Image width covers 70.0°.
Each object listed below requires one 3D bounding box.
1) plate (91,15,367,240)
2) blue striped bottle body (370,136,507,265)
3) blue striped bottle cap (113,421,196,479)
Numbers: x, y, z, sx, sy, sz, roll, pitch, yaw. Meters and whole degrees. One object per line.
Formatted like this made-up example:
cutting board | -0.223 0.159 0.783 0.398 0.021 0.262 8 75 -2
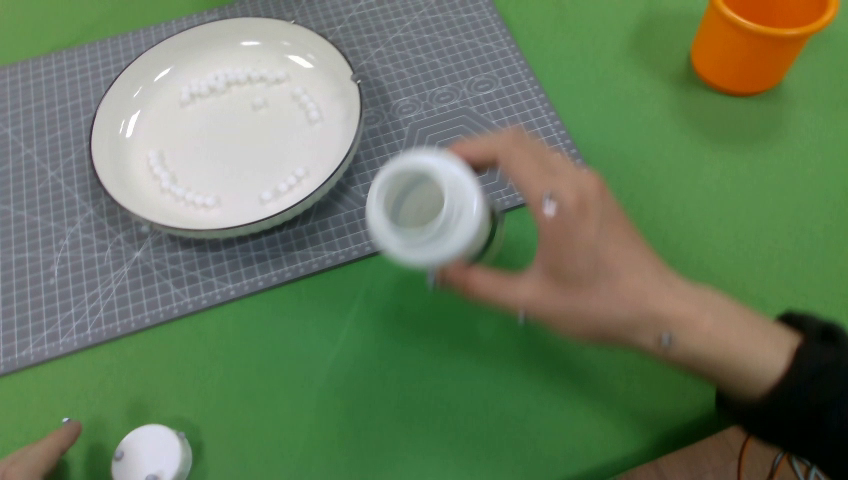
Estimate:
plate | -0.146 -0.088 0.473 0.207 0.039 0.206 -1 62 2
blue striped bottle body | 0.010 -0.020 0.344 0.063 0.121 0.063 -1 84 14
blue striped bottle cap | -0.166 0.135 0.375 0.044 0.021 0.044 -1 64 2
